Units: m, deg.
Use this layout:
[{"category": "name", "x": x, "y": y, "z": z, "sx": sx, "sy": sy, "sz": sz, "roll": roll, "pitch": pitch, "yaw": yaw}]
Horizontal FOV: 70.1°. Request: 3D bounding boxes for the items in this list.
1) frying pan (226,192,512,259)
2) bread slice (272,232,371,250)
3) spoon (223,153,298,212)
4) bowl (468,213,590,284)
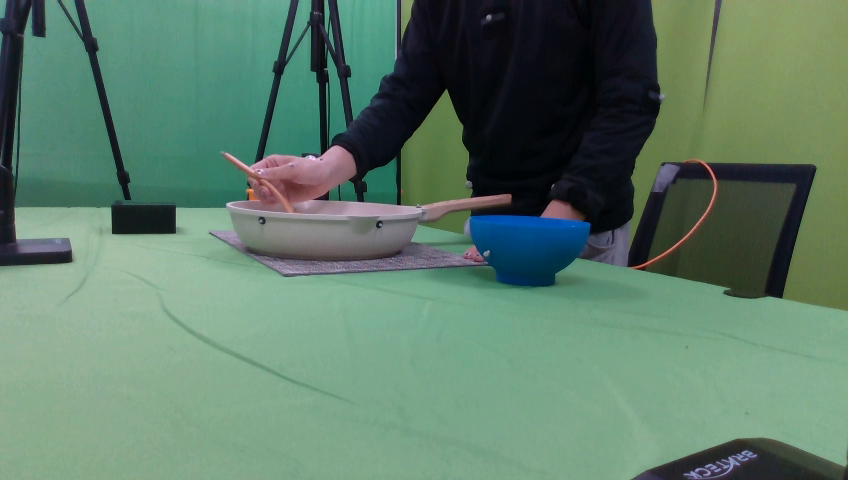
[{"category": "frying pan", "x": -0.058, "y": -0.041, "z": 0.974, "sx": 0.490, "sy": 0.102, "sz": 0.305, "roll": -11, "pitch": 13, "yaw": -26}, {"category": "bread slice", "x": -0.148, "y": 0.001, "z": 0.928, "sx": 0.133, "sy": 0.018, "sz": 0.107, "roll": 5, "pitch": 6, "yaw": 38}, {"category": "spoon", "x": -0.227, "y": -0.072, "z": 0.901, "sx": 0.193, "sy": 0.021, "sz": 0.042, "roll": 42, "pitch": 15, "yaw": 9}, {"category": "bowl", "x": 0.128, "y": 0.011, "z": 0.755, "sx": 0.151, "sy": 0.077, "sz": 0.151, "roll": 2, "pitch": 7, "yaw": 0}]
